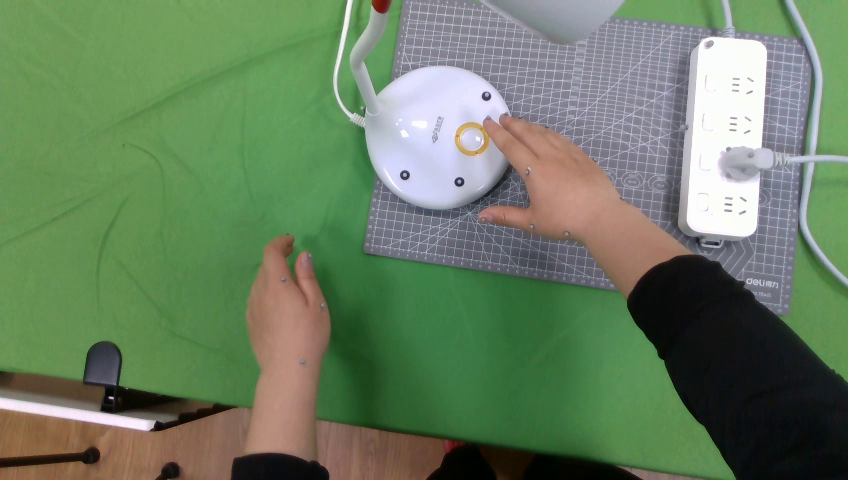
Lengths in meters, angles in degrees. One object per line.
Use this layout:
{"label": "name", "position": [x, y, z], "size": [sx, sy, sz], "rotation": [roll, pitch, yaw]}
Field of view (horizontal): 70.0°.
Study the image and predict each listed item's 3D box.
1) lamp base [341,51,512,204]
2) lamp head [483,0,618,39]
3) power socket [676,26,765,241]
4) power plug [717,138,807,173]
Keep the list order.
{"label": "lamp base", "position": [-0.005, -0.128, 0.582], "size": [0.179, 0.181, 0.160], "rotation": [4, 84, 8]}
{"label": "lamp head", "position": [0.035, -0.166, 0.285], "size": [0.123, 0.112, 0.112], "rotation": [12, 85, -16]}
{"label": "power socket", "position": [0.308, -0.113, 0.631], "size": [0.072, 0.032, 0.226], "rotation": [6, 84, 4]}
{"label": "power plug", "position": [0.332, -0.079, 0.607], "size": [0.072, 0.053, 0.035], "rotation": [18, 86, 3]}
